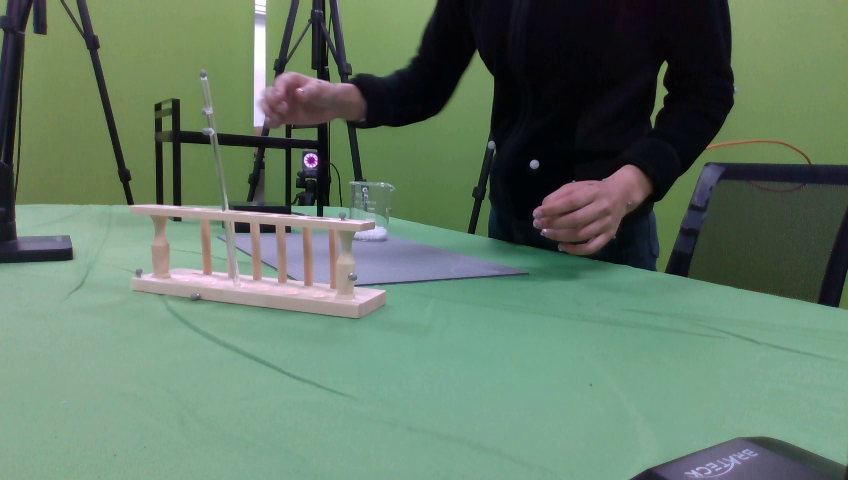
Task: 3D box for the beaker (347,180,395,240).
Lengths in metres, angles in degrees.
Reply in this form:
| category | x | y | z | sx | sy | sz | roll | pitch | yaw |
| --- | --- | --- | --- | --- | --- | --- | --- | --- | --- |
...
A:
| category | x | y | z | sx | sy | sz | roll | pitch | yaw |
| --- | --- | --- | --- | --- | --- | --- | --- | --- | --- |
| beaker | -0.094 | -0.052 | 1.053 | 0.084 | 0.100 | 0.074 | 1 | 8 | -13 |

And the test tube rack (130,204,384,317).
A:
| category | x | y | z | sx | sy | sz | roll | pitch | yaw |
| --- | --- | --- | --- | --- | --- | --- | --- | --- | --- |
| test tube rack | -0.163 | 0.013 | 0.588 | 0.242 | 0.085 | 0.067 | 5 | 8 | 17 |

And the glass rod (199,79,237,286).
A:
| category | x | y | z | sx | sy | sz | roll | pitch | yaw |
| --- | --- | --- | --- | --- | --- | --- | --- | --- | --- |
| glass rod | -0.194 | -0.050 | 0.569 | 0.008 | 0.199 | 0.008 | -6 | 8 | 1 |
